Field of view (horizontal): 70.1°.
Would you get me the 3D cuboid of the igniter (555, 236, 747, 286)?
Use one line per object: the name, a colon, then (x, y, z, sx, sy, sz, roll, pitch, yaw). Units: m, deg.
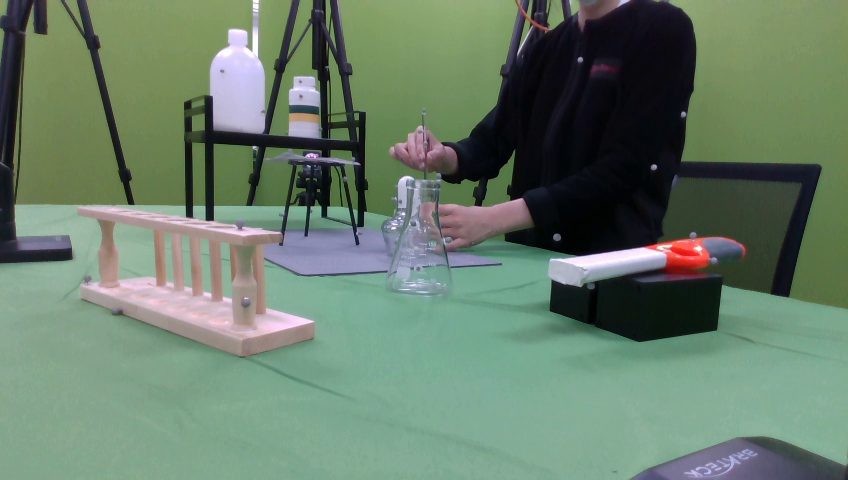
igniter: (0.221, 0.017, 0.558, 0.278, 0.025, 0.057, -5, 15, -39)

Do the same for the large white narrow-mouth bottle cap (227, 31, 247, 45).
large white narrow-mouth bottle cap: (-0.361, -0.388, 1.166, 0.038, 0.024, 0.037, 1, 7, 0)

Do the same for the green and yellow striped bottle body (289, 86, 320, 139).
green and yellow striped bottle body: (-0.249, -0.272, 1.259, 0.063, 0.119, 0.063, 2, 8, 0)

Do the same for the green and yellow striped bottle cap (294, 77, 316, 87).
green and yellow striped bottle cap: (-0.247, -0.326, 1.251, 0.045, 0.020, 0.045, 0, 10, 0)

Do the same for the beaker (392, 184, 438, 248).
beaker: (-0.013, -0.040, 0.993, 0.074, 0.100, 0.083, -5, 11, -42)

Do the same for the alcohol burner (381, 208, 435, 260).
alcohol burner: (-0.023, -0.032, 0.871, 0.078, 0.119, 0.078, 1, 6, 0)

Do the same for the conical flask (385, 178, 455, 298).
conical flask: (-0.002, -0.004, 0.639, 0.075, 0.122, 0.075, 2, 7, 0)

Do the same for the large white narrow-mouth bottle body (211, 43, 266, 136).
large white narrow-mouth bottle body: (-0.361, -0.302, 1.176, 0.102, 0.194, 0.102, 1, 7, 0)

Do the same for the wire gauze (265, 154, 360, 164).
wire gauze: (-0.181, -0.129, 0.969, 0.126, 0.011, 0.121, -1, 7, -27)

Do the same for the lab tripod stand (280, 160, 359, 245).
lab tripod stand: (-0.176, -0.062, 0.973, 0.148, 0.131, 0.148, 1, 7, 0)

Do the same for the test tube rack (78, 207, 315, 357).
test tube rack: (-0.196, 0.023, 0.500, 0.241, 0.085, 0.067, 8, 8, 37)

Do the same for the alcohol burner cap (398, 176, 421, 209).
alcohol burner cap: (-0.023, -0.068, 0.866, 0.034, 0.048, 0.034, -5, 8, 1)

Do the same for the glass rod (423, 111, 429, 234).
glass rod: (0.003, -0.108, 0.984, 0.008, 0.199, 0.008, -1, 11, 1)
